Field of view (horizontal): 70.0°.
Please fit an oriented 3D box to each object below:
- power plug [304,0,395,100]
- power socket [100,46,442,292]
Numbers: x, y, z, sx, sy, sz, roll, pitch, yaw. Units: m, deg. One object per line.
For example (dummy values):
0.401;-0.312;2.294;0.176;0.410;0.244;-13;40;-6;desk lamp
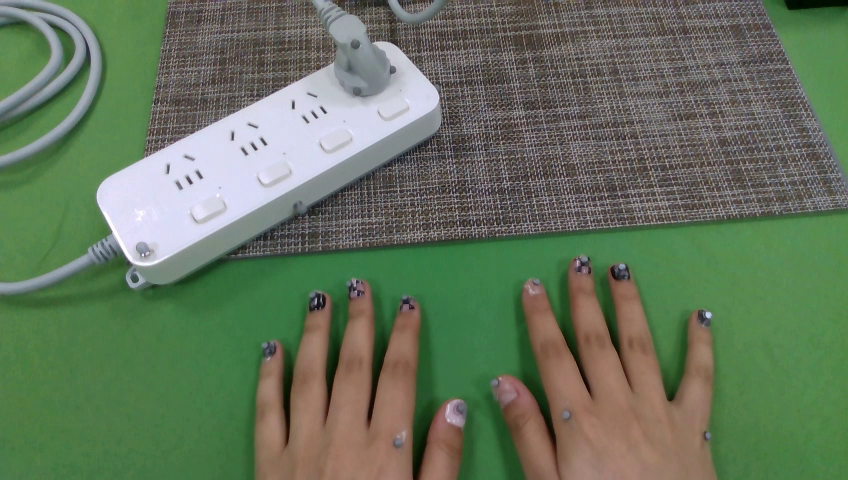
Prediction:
-0.045;-0.120;0.389;0.035;0.053;0.072;-22;65;-10;power plug
-0.089;-0.051;0.379;0.227;0.033;0.071;-32;66;-15;power socket
